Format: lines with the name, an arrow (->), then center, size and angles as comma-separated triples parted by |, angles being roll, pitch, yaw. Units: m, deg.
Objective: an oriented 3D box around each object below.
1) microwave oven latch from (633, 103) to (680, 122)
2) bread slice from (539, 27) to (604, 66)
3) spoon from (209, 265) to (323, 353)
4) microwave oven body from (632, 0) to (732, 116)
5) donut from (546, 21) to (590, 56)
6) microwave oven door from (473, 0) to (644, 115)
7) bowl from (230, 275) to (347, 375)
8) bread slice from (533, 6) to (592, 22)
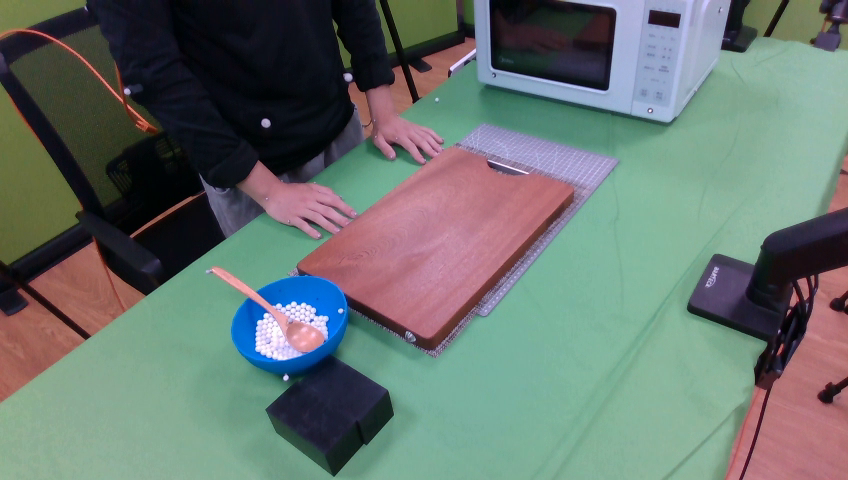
microwave oven latch -> 0.443, -0.249, 1.157 | 0.078, 0.029, 0.030 | 20, 48, 30
bread slice -> 0.331, -0.431, 1.340 | 0.104, 0.019, 0.132 | 24, 60, 42
spoon -> -0.213, 0.087, 0.806 | 0.193, 0.021, 0.042 | 37, 56, 11
microwave oven body -> 0.377, -0.462, 1.267 | 0.438, 0.261, 0.327 | 21, 48, 30
donut -> 0.309, -0.435, 1.299 | 0.099, 0.048, 0.098 | -22, 34, 16
microwave oven door -> 0.257, -0.396, 1.199 | 0.353, 0.245, 0.039 | 21, 48, 29
bowl -> -0.171, 0.125, 0.802 | 0.151, 0.077, 0.150 | -4, 40, 4
bread slice -> 0.298, -0.480, 1.278 | 0.106, 0.018, 0.134 | 8, 29, 21
